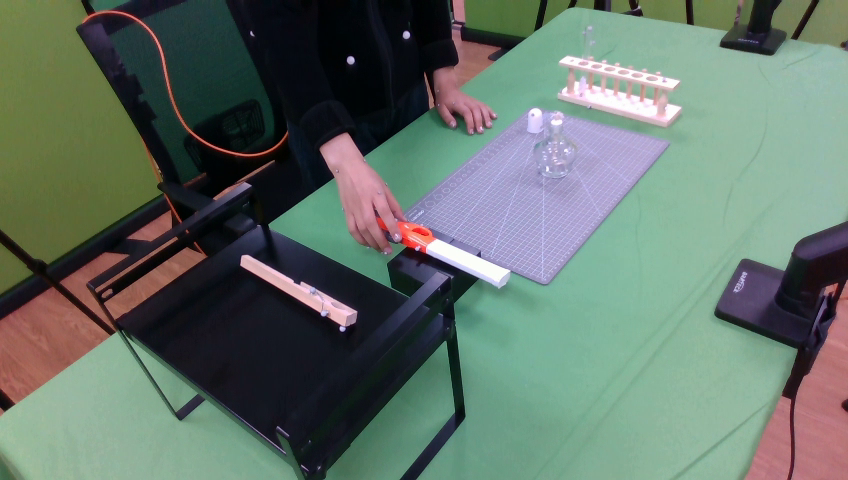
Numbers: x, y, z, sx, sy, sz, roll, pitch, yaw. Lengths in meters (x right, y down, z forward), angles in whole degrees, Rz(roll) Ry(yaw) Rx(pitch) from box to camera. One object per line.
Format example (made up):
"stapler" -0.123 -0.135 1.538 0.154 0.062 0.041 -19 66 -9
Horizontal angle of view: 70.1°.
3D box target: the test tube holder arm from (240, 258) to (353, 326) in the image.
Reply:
"test tube holder arm" -0.143 0.053 0.658 0.177 0.015 0.013 21 14 32

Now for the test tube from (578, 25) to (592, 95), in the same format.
"test tube" 0.326 -0.362 1.227 0.017 0.151 0.017 -3 44 4

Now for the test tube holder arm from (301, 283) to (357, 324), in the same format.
"test tube holder arm" -0.105 0.066 0.638 0.087 0.015 0.010 22 14 33

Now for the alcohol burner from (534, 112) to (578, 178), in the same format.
"alcohol burner" 0.232 -0.170 1.065 0.078 0.119 0.077 -5 39 5

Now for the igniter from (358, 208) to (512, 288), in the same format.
"igniter" 0.005 0.005 0.892 0.274 0.025 0.057 24 38 31

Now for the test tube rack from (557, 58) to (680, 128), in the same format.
"test tube rack" 0.395 -0.309 1.230 0.240 0.085 0.067 25 50 33

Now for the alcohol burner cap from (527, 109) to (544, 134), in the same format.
"alcohol burner cap" 0.222 -0.238 1.203 0.034 0.048 0.033 -5 41 5
